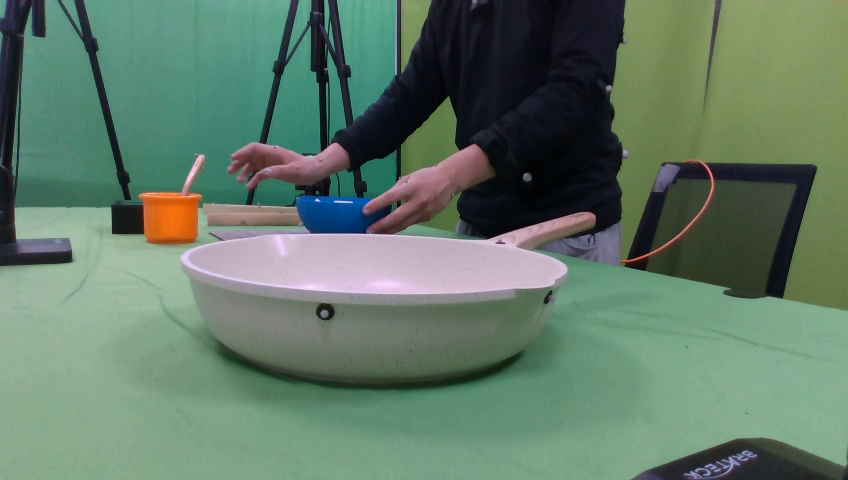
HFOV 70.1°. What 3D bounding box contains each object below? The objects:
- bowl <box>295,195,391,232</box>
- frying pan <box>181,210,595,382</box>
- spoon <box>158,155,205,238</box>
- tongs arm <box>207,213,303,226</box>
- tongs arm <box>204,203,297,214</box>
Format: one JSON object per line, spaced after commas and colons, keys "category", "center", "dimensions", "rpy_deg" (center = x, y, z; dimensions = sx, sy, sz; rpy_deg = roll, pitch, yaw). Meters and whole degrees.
{"category": "bowl", "center": [-0.127, -0.028, 0.946], "dimensions": [0.151, 0.077, 0.151], "rpy_deg": [2, 7, 0]}
{"category": "frying pan", "center": [0.034, 0.019, 0.557], "dimensions": [0.305, 0.102, 0.490], "rpy_deg": [10, 19, 42]}
{"category": "spoon", "center": [-0.392, -0.076, 0.998], "dimensions": [0.041, 0.193, 0.021], "rpy_deg": [1, -36, 6]}
{"category": "tongs arm", "center": [-0.264, -0.046, 1.297], "dimensions": [0.390, 0.028, 0.028], "rpy_deg": [-2, 7, -32]}
{"category": "tongs arm", "center": [-0.295, -0.062, 1.370], "dimensions": [0.386, 0.026, 0.050], "rpy_deg": [1, 9, -19]}
